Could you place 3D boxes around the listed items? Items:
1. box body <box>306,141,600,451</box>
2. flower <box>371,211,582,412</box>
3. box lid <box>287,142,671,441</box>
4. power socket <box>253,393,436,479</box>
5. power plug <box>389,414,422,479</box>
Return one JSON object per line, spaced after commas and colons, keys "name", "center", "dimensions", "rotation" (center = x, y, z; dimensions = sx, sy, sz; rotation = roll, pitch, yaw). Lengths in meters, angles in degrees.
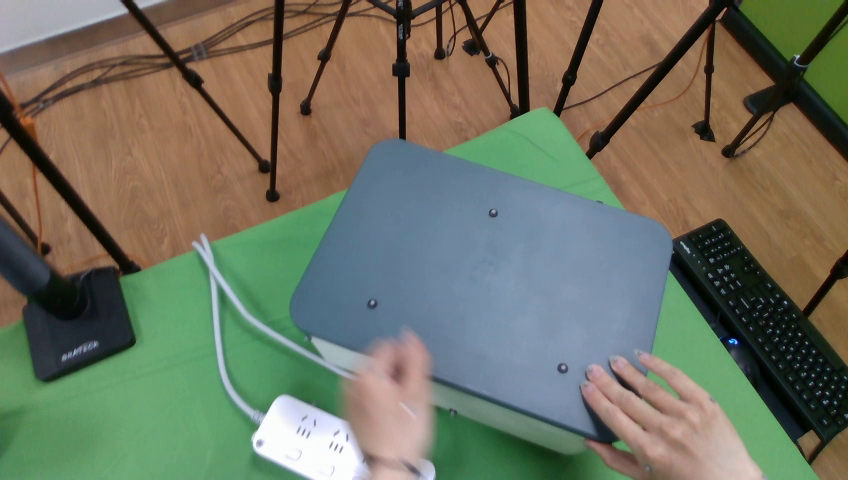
{"name": "box body", "center": [0.065, 0.071, 0.722], "dimensions": [0.363, 0.161, 0.252], "rotation": [18, 64, 8]}
{"name": "flower", "center": [0.066, 0.092, 0.790], "dimensions": [0.360, 0.038, 0.044], "rotation": [43, 94, 12]}
{"name": "box lid", "center": [0.066, 0.036, 0.653], "dimensions": [0.370, 0.015, 0.262], "rotation": [18, 62, 10]}
{"name": "power socket", "center": [-0.092, 0.250, 0.703], "dimensions": [0.226, 0.033, 0.072], "rotation": [21, 65, 10]}
{"name": "power plug", "center": [-0.012, 0.241, 0.682], "dimensions": [0.035, 0.053, 0.072], "rotation": [30, 62, 17]}
